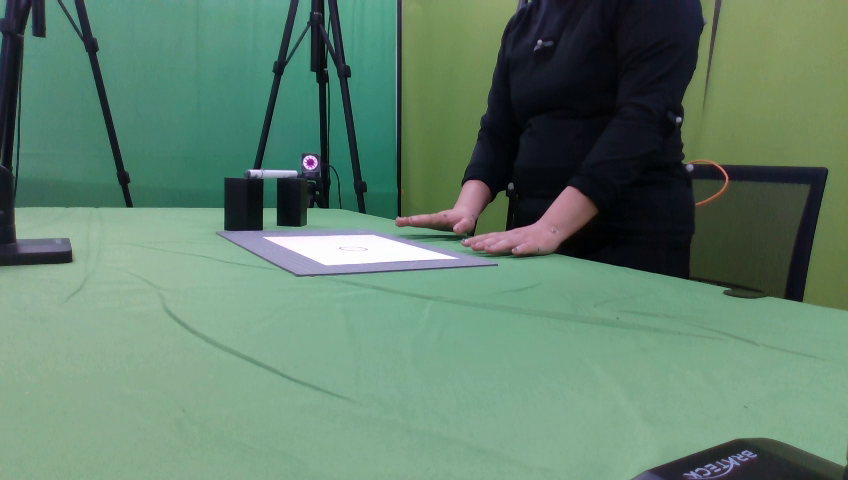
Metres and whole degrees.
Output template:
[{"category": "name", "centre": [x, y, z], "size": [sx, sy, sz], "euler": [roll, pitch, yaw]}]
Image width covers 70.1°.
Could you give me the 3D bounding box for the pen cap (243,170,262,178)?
[{"category": "pen cap", "centre": [-0.328, -0.126, 1.154], "size": [0.017, 0.017, 0.038], "euler": [6, 10, 22]}]

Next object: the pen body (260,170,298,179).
[{"category": "pen body", "centre": [-0.301, -0.131, 1.211], "size": [0.017, 0.017, 0.144], "euler": [6, 8, 24]}]
